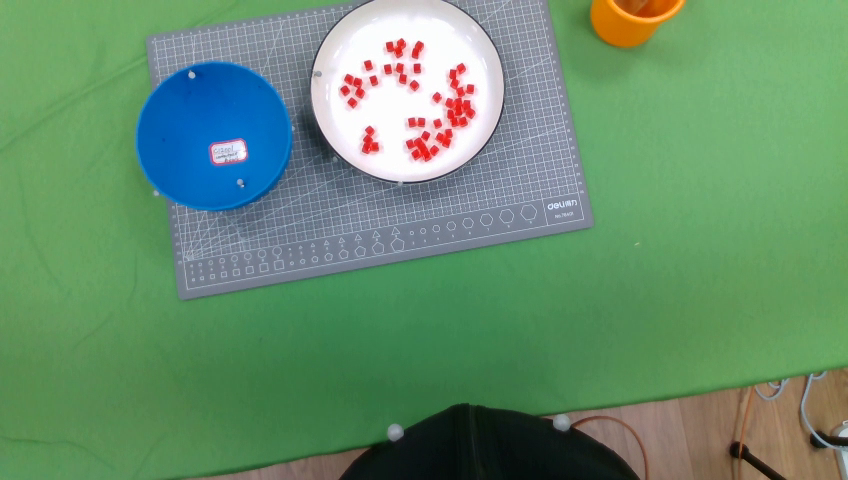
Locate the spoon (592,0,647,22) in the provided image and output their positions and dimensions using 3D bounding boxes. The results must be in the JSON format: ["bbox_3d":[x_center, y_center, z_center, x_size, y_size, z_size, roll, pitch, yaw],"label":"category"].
[{"bbox_3d":[0.263,-0.271,0.616,0.022,0.193,0.041,2,81,-45],"label":"spoon"}]

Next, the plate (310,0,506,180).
[{"bbox_3d":[-0.017,-0.165,0.653,0.209,0.038,0.208,0,83,0],"label":"plate"}]

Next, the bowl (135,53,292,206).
[{"bbox_3d":[-0.204,-0.102,0.623,0.151,0.077,0.151,0,83,-1],"label":"bowl"}]
